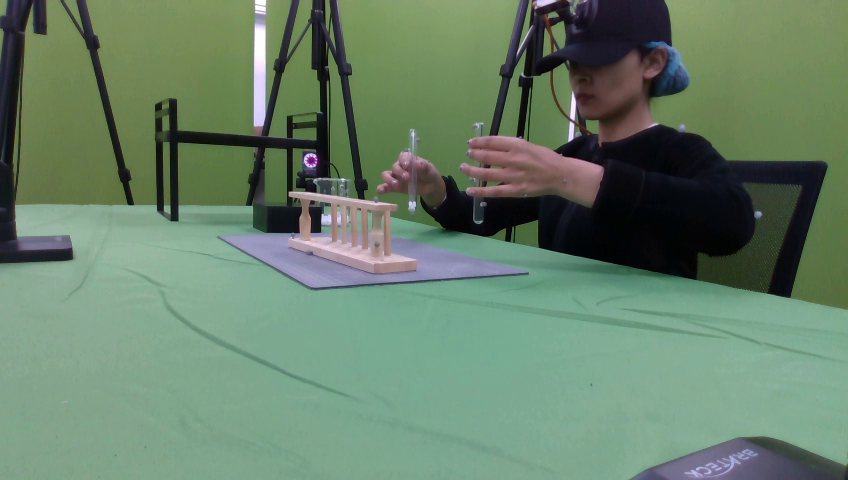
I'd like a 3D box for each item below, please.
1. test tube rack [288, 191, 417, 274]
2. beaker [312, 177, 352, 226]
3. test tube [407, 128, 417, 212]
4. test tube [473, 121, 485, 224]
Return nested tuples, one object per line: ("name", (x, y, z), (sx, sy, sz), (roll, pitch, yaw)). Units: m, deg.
("test tube rack", (-0.106, -0.017, 0.835), (0.067, 0.085, 0.241), (-3, 9, -37))
("beaker", (-0.194, -0.081, 1.266), (0.084, 0.100, 0.073), (-3, 9, -29))
("test tube", (-0.020, -0.122, 1.042), (0.017, 0.150, 0.017), (0, -13, 0))
("test tube", (0.080, -0.098, 0.885), (0.017, 0.150, 0.017), (1, 7, 0))
